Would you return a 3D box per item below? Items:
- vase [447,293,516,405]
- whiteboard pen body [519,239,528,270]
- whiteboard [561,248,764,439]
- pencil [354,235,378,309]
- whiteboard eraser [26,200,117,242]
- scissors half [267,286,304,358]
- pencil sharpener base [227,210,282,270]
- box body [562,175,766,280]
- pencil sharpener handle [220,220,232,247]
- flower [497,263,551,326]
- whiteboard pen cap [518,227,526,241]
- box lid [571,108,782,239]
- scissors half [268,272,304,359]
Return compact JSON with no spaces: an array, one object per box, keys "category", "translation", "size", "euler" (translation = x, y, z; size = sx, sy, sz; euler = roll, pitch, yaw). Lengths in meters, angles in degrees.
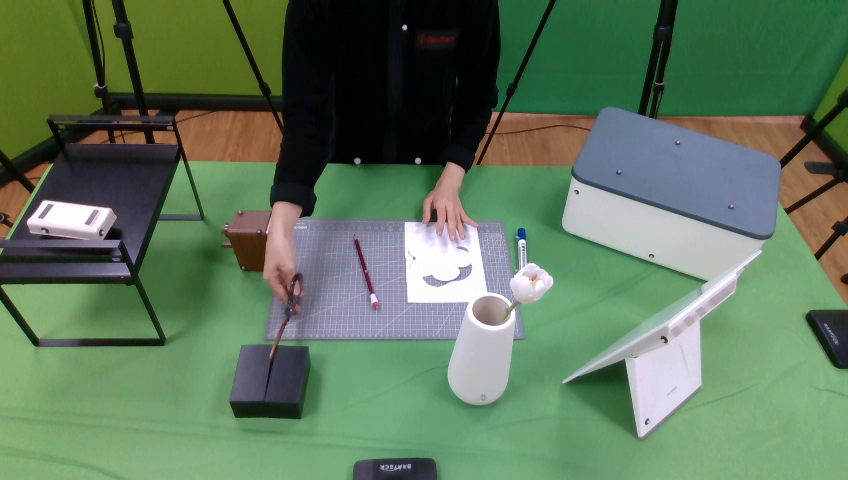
[{"category":"vase","translation":[0.091,0.169,0.921],"size":[0.098,0.201,0.097],"euler":[3,47,-3]},{"category":"whiteboard pen body","translation":[0.193,0.035,1.181],"size":[0.017,0.017,0.140],"euler":[6,48,1]},{"category":"whiteboard","translation":[0.386,0.176,0.905],"size":[0.217,0.306,0.143],"euler":[-26,72,-27]},{"category":"pencil","translation":[-0.113,0.055,1.143],"size":[0.012,0.012,0.192],"euler":[-10,46,-13]},{"category":"whiteboard eraser","translation":[-0.532,-0.026,0.919],"size":[0.113,0.042,0.055],"euler":[7,45,3]},{"category":"scissors half","translation":[-0.231,0.137,1.015],"size":[0.013,0.040,0.174],"euler":[10,32,3]},{"category":"pencil sharpener base","translation":[-0.311,0.001,1.112],"size":[0.077,0.107,0.061],"euler":[1,47,1]},{"category":"box body","translation":[0.486,-0.088,1.222],"size":[0.363,0.161,0.253],"euler":[20,48,15]},{"category":"pencil sharpener handle","translation":[-0.362,-0.009,1.105],"size":[0.030,0.068,0.036],"euler":[1,52,1]},{"category":"flower","translation":[0.102,0.121,0.852],"size":[0.044,0.363,0.038],"euler":[-2,64,-10]},{"category":"whiteboard pen cap","translation":[0.197,-0.009,1.220],"size":[0.018,0.018,0.033],"euler":[5,50,1]},{"category":"box lid","translation":[0.491,-0.139,1.168],"size":[0.370,0.015,0.262],"euler":[21,49,15]},{"category":"scissors half","translation":[-0.230,0.121,1.002],"size":[0.013,0.040,0.174],"euler":[6,49,6]}]
